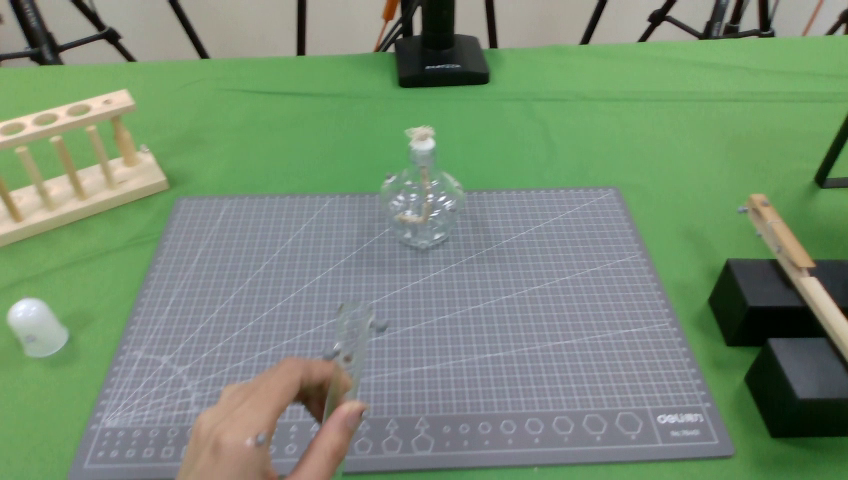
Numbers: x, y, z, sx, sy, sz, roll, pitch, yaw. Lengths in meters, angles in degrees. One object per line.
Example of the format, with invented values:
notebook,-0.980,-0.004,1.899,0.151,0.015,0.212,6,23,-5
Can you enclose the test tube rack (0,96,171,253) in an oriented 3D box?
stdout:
test tube rack,-0.380,-0.051,0.567,0.243,0.086,0.066,-24,48,-24

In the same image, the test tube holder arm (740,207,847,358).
test tube holder arm,0.288,0.030,0.461,0.015,0.013,0.176,3,41,-6

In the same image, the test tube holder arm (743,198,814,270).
test tube holder arm,0.286,-0.004,0.491,0.015,0.010,0.087,3,42,-6

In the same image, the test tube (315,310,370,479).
test tube,-0.044,0.095,0.310,0.017,0.151,0.017,9,34,-5

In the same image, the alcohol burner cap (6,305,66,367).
alcohol burner cap,-0.303,0.071,0.469,0.034,0.048,0.033,1,43,0

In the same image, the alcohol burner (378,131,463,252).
alcohol burner,-0.003,-0.047,0.540,0.078,0.120,0.077,1,44,-1
